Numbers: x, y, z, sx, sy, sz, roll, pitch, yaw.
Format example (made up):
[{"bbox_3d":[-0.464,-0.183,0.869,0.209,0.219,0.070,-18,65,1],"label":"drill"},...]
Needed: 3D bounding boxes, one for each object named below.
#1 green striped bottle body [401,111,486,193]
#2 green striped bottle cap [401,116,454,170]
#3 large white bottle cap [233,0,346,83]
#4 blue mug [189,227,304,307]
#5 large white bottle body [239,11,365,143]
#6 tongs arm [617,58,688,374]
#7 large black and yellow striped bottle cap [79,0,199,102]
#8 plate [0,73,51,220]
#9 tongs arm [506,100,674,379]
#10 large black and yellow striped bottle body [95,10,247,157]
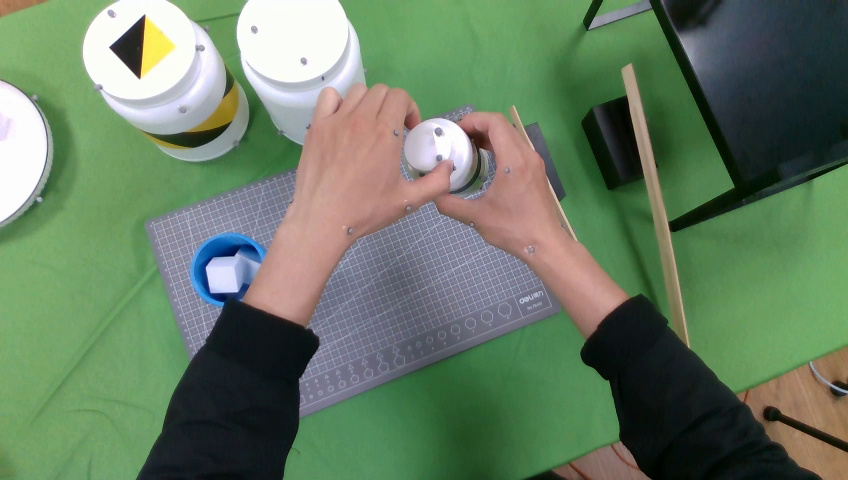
[{"bbox_3d":[0.018,-0.082,0.572,0.063,0.120,0.063,-1,87,16],"label":"green striped bottle body"},{"bbox_3d":[0.003,-0.083,0.520,0.044,0.020,0.044,-1,88,20],"label":"green striped bottle cap"},{"bbox_3d":[-0.139,-0.219,0.629,0.115,0.018,0.114,0,80,-2],"label":"large white bottle cap"},{"bbox_3d":[-0.199,0.031,0.711,0.116,0.106,0.082,-14,81,-4],"label":"blue mug"},{"bbox_3d":[-0.140,-0.204,0.712,0.131,0.185,0.130,0,80,-2],"label":"large white bottle body"},{"bbox_3d":[0.277,-0.028,0.740,0.028,0.027,0.387,-12,93,-12],"label":"tongs arm"},{"bbox_3d":[-0.293,-0.200,0.623,0.115,0.019,0.114,1,81,-3],"label":"large black and yellow striped bottle cap"},{"bbox_3d":[-0.569,-0.112,0.758,0.208,0.039,0.207,0,81,-2],"label":"plate"},{"bbox_3d":[0.201,0.001,0.731,0.051,0.026,0.385,-26,94,-8],"label":"tongs arm"},{"bbox_3d":[-0.294,-0.184,0.705,0.131,0.184,0.130,0,80,-1],"label":"large black and yellow striped bottle body"}]
